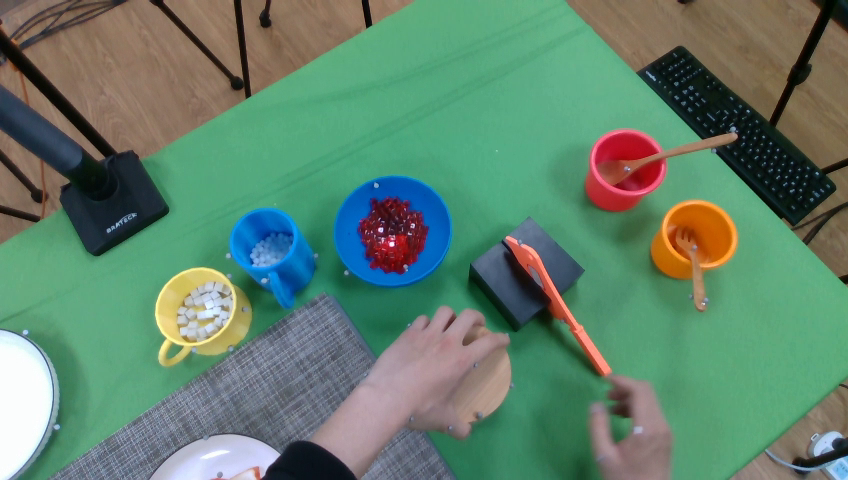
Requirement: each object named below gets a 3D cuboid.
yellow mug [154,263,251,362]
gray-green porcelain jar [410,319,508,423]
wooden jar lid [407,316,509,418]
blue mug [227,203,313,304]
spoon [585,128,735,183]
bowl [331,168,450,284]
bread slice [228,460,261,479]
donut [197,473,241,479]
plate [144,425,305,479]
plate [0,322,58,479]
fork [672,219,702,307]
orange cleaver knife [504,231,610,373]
[{"bbox_3d":[-0.288,0.098,0.767,0.099,0.064,0.130,31,75,12],"label":"yellow mug"},{"bbox_3d":[0.039,0.157,0.705,0.106,0.127,0.105,0,70,1],"label":"gray-green porcelain jar"},{"bbox_3d":[0.036,0.135,0.646,0.108,0.021,0.107,1,69,-1],"label":"wooden jar lid"},{"bbox_3d":[-0.189,0.025,0.769,0.082,0.106,0.115,-15,71,-4],"label":"blue mug"},{"bbox_3d":[0.298,-0.111,0.783,0.022,0.193,0.041,28,60,-36],"label":"spoon"},{"bbox_3d":[-0.041,-0.007,0.791,0.151,0.077,0.150,0,71,2],"label":"bowl"},{"bbox_3d":[-0.242,0.330,0.698,0.131,0.019,0.104,-21,71,-9],"label":"bread slice"},{"bbox_3d":[-0.232,0.310,0.671,0.099,0.048,0.098,1,69,-1],"label":"donut"},{"bbox_3d":[-0.230,0.323,0.696,0.209,0.038,0.207,0,70,2],"label":"plate"},{"bbox_3d":[-0.554,0.206,0.750,0.208,0.039,0.206,0,71,1],"label":"plate"},{"bbox_3d":[0.320,0.023,0.733,0.028,0.019,0.206,26,29,4],"label":"fork"},{"bbox_3d":[0.164,0.076,0.754,0.012,0.077,0.212,-37,103,-10],"label":"orange cleaver knife"}]
